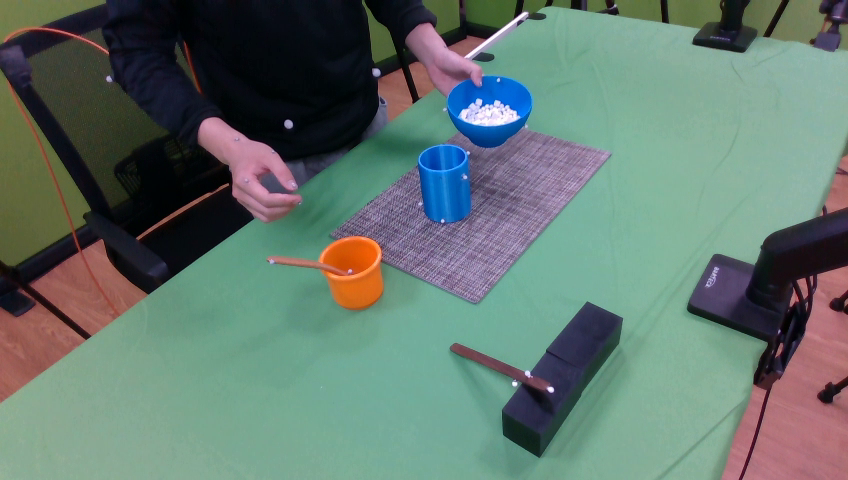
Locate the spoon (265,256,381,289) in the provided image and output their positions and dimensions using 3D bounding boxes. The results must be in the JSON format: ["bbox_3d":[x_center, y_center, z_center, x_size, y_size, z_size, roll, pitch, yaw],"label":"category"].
[{"bbox_3d":[-0.136,0.041,0.842,0.021,0.195,0.041,-57,46,12],"label":"spoon"}]

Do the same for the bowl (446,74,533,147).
[{"bbox_3d":[0.115,-0.218,1.071,0.151,0.077,0.150,-2,48,2],"label":"bowl"}]

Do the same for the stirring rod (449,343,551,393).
[{"bbox_3d":[0.088,0.154,0.741,0.014,0.006,0.174,-40,28,-25],"label":"stirring rod"}]

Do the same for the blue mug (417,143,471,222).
[{"bbox_3d":[0.031,-0.104,1.014,0.082,0.106,0.115,-14,41,-7],"label":"blue mug"}]
